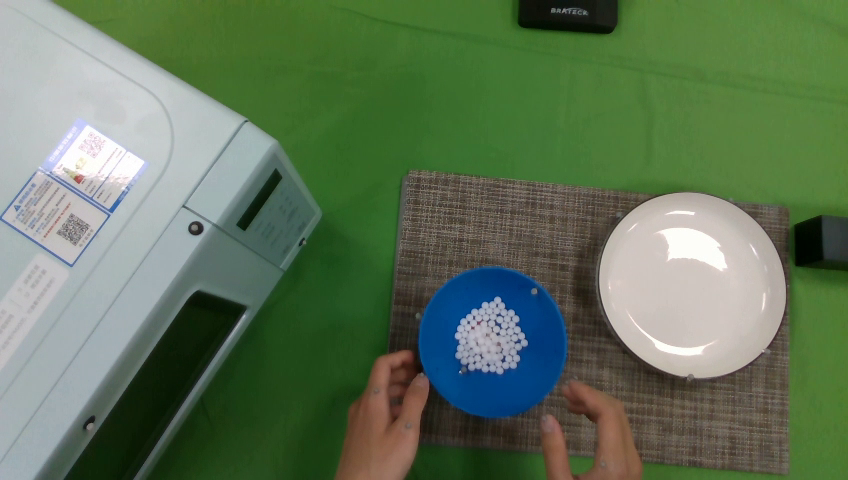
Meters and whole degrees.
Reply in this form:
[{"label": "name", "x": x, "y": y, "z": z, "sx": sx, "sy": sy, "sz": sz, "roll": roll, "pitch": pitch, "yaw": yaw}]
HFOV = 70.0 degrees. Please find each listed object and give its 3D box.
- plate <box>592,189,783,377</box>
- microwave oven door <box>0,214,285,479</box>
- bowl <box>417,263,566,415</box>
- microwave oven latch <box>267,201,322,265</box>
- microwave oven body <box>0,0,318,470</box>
[{"label": "plate", "x": 0.287, "y": 0.047, "z": 0.675, "sx": 0.208, "sy": 0.039, "sz": 0.207, "roll": 0, "pitch": 80, "yaw": -1}, {"label": "microwave oven door", "x": -0.258, "y": 0.151, "z": 0.526, "sx": 0.039, "sy": 0.244, "sz": 0.355, "roll": 31, "pitch": 81, "yaw": 5}, {"label": "bowl", "x": 0.067, "y": 0.104, "z": 0.639, "sx": 0.151, "sy": 0.077, "sz": 0.151, "roll": 0, "pitch": 80, "yaw": -1}, {"label": "microwave oven latch", "x": -0.143, "y": -0.013, "z": 0.661, "sx": 0.030, "sy": 0.029, "sz": 0.079, "roll": 33, "pitch": 81, "yaw": 4}, {"label": "microwave oven body", "x": -0.361, "y": 0.041, "z": 0.549, "sx": 0.325, "sy": 0.261, "sz": 0.441, "roll": 31, "pitch": 81, "yaw": 4}]
